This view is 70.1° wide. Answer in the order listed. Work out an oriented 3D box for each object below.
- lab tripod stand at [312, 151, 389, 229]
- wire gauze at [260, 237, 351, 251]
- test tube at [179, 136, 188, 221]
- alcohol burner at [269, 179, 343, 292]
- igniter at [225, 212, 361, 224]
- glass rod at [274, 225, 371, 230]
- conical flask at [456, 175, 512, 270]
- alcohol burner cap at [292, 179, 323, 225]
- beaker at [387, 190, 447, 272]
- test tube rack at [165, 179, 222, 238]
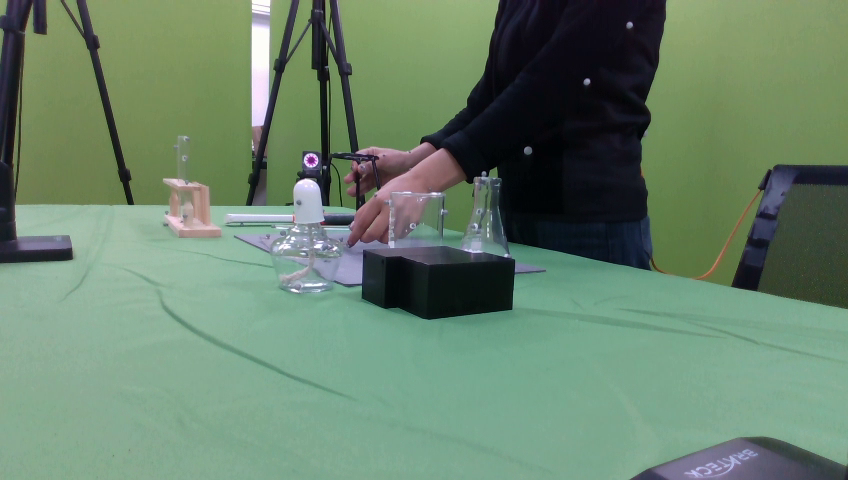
[{"bbox_3d":[-0.120,-0.086,1.053,0.148,0.131,0.148,3,2,0],"label":"lab tripod stand"},{"bbox_3d":[-0.185,0.004,0.938,0.122,0.011,0.124,-1,6,-24],"label":"wire gauze"},{"bbox_3d":[-0.425,-0.108,1.070,0.017,0.150,0.017,4,9,0],"label":"test tube"},{"bbox_3d":[-0.123,-0.005,0.637,0.078,0.119,0.078,4,8,0],"label":"alcohol burner"},{"bbox_3d":[-0.262,-0.044,1.240,0.278,0.025,0.057,-2,-1,-30],"label":"igniter"},{"bbox_3d":[-0.193,-0.024,1.177,0.201,0.008,0.008,1,7,-31],"label":"glass rod"},{"bbox_3d":[0.083,-0.025,0.801,0.075,0.122,0.075,2,7,0],"label":"conical flask"},{"bbox_3d":[-0.124,-0.040,0.632,0.034,0.048,0.034,-3,10,1],"label":"alcohol burner cap"},{"bbox_3d":[-0.010,-0.013,0.771,0.074,0.100,0.084,3,7,4],"label":"beaker"},{"bbox_3d":[-0.423,-0.062,1.098,0.067,0.085,0.241,-2,9,-28],"label":"test tube rack"}]
